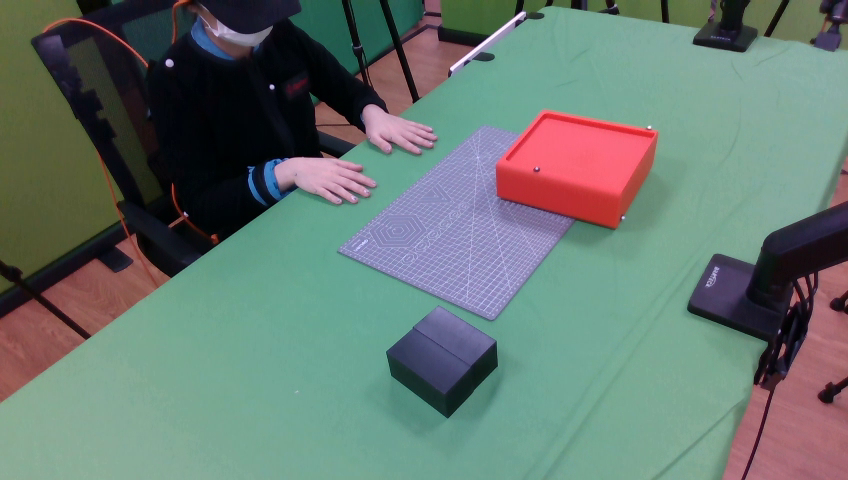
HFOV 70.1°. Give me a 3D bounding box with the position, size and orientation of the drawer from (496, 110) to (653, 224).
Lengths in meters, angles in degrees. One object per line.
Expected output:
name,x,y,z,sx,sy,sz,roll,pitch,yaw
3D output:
drawer,0.257,-0.130,1.032,0.210,0.073,0.195,18,46,26

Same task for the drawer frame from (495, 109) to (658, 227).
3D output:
drawer frame,0.260,-0.130,1.031,0.212,0.083,0.202,18,46,26

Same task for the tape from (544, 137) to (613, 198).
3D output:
tape,0.263,-0.124,1.034,0.117,0.053,0.116,-5,40,5
